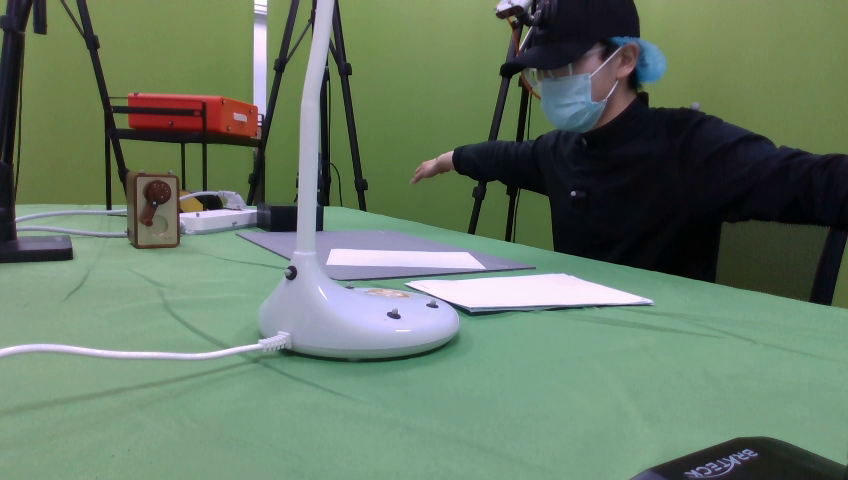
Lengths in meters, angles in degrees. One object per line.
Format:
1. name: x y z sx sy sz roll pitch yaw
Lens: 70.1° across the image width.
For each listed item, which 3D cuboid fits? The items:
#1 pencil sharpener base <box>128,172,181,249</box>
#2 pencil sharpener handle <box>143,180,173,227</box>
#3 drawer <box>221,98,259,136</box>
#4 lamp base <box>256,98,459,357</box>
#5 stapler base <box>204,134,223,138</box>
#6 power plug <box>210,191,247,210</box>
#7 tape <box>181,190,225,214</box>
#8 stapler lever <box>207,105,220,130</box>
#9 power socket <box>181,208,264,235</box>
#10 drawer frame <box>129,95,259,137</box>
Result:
1. pencil sharpener base: -0.395 -0.044 0.887 0.062 0.107 0.076 -2 9 -34
2. pencil sharpener handle: -0.371 -0.050 0.840 0.036 0.067 0.030 24 -5 -34
3. drawer: -0.513 -0.280 1.382 0.212 0.073 0.194 3 8 7
4. lamp base: -0.055 -0.013 0.463 0.160 0.180 0.180 6 11 27
5. stapler base: -0.483 -0.256 1.386 0.041 0.024 0.130 5 -2 -18
6. power plug: -0.386 -0.071 1.204 0.072 0.052 0.035 7 8 26
7. tape: -0.515 -0.087 1.388 0.117 0.052 0.117 3 7 0
8. stapler lever: -0.483 -0.281 1.388 0.027 0.040 0.117 5 -1 -18
9. power socket: -0.381 -0.038 1.129 0.072 0.032 0.227 4 8 17
10. drawer frame: -0.515 -0.281 1.380 0.213 0.082 0.202 3 8 6
